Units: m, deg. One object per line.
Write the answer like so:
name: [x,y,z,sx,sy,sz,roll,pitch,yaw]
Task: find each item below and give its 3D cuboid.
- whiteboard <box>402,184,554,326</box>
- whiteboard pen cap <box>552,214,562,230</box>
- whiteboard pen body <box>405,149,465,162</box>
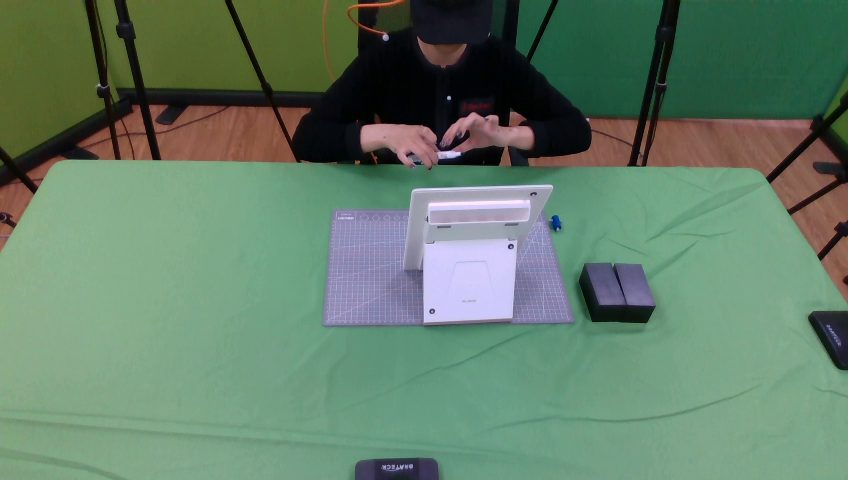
whiteboard: [0.081,0.044,1.005,0.217,0.306,0.143,-1,65,-6]
whiteboard pen cap: [0.275,-0.037,1.260,0.018,0.018,0.033,1,44,-2]
whiteboard pen body: [0.022,-0.177,1.263,0.140,0.017,0.017,-2,41,30]
